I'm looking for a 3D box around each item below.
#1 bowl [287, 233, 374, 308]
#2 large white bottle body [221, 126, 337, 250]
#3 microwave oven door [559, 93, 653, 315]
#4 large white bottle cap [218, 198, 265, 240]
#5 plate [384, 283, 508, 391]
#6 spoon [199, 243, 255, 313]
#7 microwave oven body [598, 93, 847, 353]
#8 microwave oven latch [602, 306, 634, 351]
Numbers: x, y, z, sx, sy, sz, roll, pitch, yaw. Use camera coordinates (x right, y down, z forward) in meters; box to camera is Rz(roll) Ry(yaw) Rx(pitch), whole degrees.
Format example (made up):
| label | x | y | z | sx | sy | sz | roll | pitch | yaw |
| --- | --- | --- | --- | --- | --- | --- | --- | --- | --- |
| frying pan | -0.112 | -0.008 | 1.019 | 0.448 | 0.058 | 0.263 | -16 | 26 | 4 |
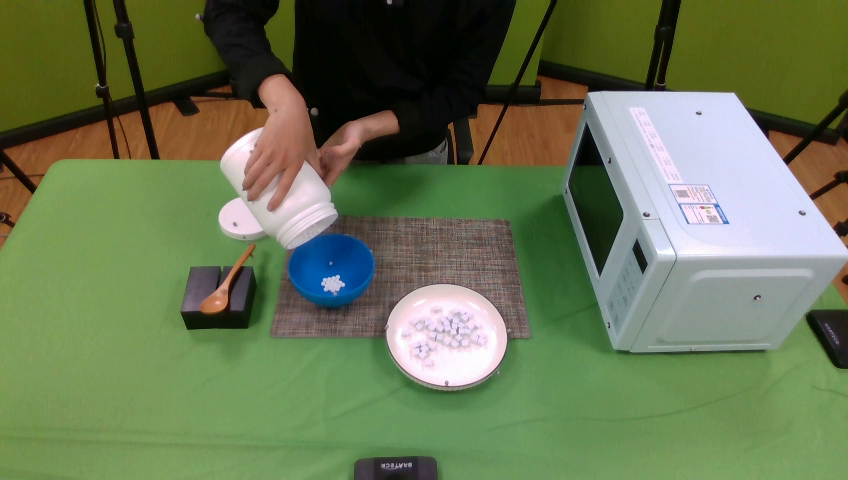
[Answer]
| label | x | y | z | sx | sy | sz | roll | pitch | yaw |
| --- | --- | --- | --- | --- | --- | --- | --- | --- | --- |
| bowl | -0.164 | 0.068 | 1.078 | 0.151 | 0.077 | 0.150 | 3 | 46 | -2 |
| large white bottle body | -0.244 | -0.086 | 1.038 | 0.130 | 0.131 | 0.184 | -33 | 85 | -31 |
| microwave oven door | 0.327 | -0.074 | 1.123 | 0.039 | 0.245 | 0.353 | -1 | 46 | -5 |
| large white bottle cap | -0.355 | -0.045 | 1.220 | 0.115 | 0.018 | 0.114 | 2 | 45 | -2 |
| plate | 0.036 | 0.166 | 1.029 | 0.209 | 0.038 | 0.208 | 2 | 49 | -2 |
| spoon | -0.333 | 0.062 | 1.051 | 0.041 | 0.022 | 0.193 | 8 | 40 | 7 |
| microwave oven body | 0.475 | -0.041 | 1.109 | 0.326 | 0.261 | 0.438 | -1 | 45 | -4 |
| microwave oven latch | 0.332 | 0.153 | 1.044 | 0.030 | 0.029 | 0.078 | 0 | 45 | -4 |
